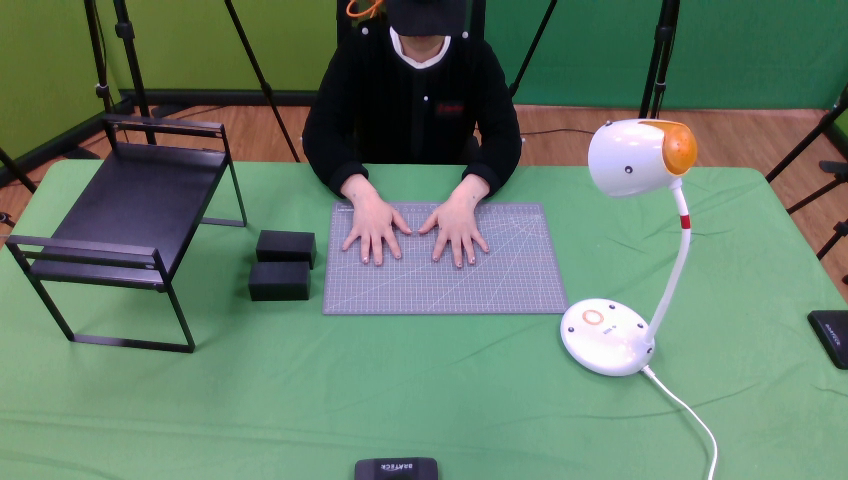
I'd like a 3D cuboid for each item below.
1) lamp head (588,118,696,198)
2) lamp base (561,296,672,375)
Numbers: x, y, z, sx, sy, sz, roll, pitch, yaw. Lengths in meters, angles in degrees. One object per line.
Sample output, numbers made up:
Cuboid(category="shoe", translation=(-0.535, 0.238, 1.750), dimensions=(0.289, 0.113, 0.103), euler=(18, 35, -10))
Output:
Cuboid(category="lamp head", translation=(0.304, -0.113, 0.823), dimensions=(0.112, 0.112, 0.122), euler=(-26, 16, -25))
Cuboid(category="lamp base", translation=(0.332, 0.119, 0.996), dimensions=(0.160, 0.181, 0.178), euler=(-34, 59, -31))
